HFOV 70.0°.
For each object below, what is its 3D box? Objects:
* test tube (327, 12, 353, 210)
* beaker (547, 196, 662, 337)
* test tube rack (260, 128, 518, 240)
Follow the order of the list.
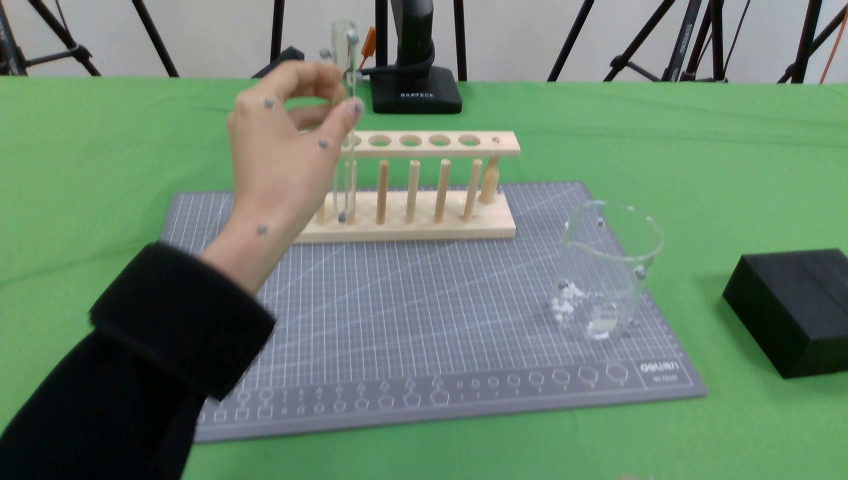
[{"bbox_3d":[-0.058,-0.081,0.420,0.017,0.151,0.017,4,41,-3],"label":"test tube"},{"bbox_3d":[0.142,0.025,0.505,0.084,0.101,0.073,-8,41,-13],"label":"beaker"},{"bbox_3d":[-0.032,-0.056,0.593,0.243,0.086,0.066,-2,41,-8],"label":"test tube rack"}]
